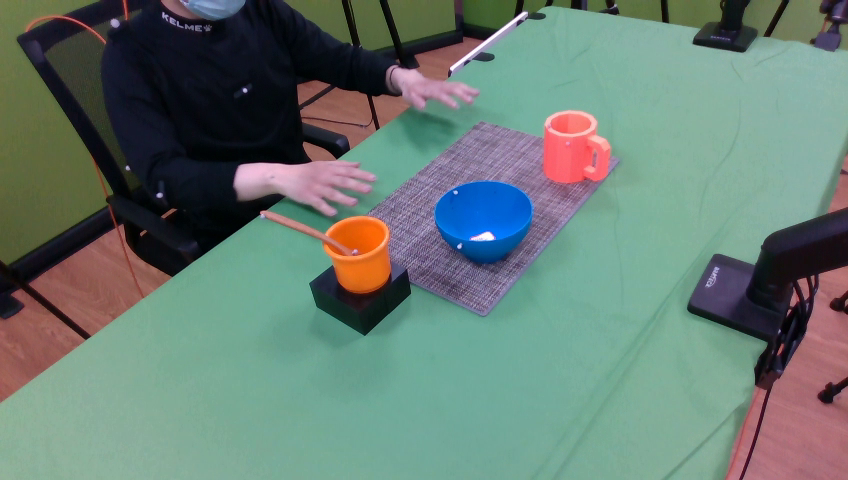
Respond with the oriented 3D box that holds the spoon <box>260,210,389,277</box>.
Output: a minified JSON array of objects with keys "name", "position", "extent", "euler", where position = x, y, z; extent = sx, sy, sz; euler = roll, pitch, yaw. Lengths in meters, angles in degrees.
[{"name":"spoon","position":[-0.129,0.003,0.809],"extent":[0.021,0.195,0.041],"euler":[-41,33,30]}]

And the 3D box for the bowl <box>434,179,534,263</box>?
[{"name":"bowl","position":[0.093,-0.018,0.928],"extent":[0.151,0.077,0.150],"euler":[-4,41,4]}]

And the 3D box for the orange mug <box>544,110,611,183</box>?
[{"name":"orange mug","position":[0.266,-0.157,1.049],"extent":[0.084,0.101,0.125],"euler":[-32,42,-26]}]
